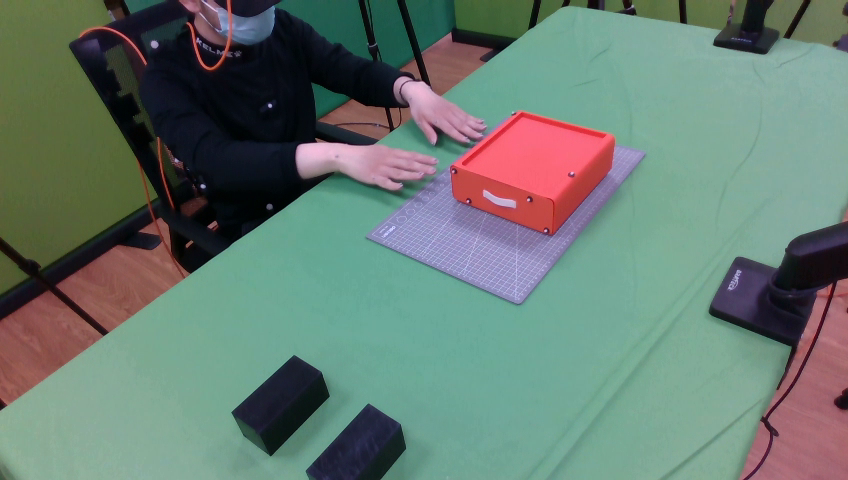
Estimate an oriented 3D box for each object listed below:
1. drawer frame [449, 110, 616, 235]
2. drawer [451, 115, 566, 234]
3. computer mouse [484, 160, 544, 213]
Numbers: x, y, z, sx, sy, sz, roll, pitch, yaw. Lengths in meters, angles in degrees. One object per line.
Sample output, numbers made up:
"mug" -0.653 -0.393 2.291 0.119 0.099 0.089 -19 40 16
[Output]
"drawer frame" 0.186 -0.124 1.035 0.200 0.083 0.214 23 48 31
"drawer" 0.185 -0.121 1.034 0.193 0.073 0.212 23 48 31
"computer mouse" 0.152 -0.094 1.011 0.063 0.041 0.116 -11 52 -28
